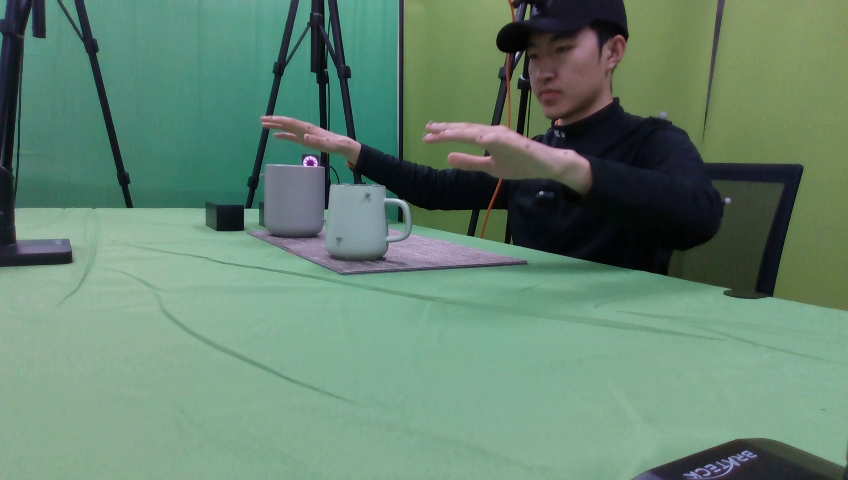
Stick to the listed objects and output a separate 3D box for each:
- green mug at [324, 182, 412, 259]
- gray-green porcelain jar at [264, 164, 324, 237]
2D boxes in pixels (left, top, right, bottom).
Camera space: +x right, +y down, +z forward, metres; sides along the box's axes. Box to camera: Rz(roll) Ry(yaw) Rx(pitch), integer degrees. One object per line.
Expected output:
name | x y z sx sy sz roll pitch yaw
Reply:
green mug | -0.079 -0.028 0.864 0.125 0.105 0.092 3 7 9
gray-green porcelain jar | -0.233 -0.072 1.088 0.106 0.126 0.106 2 7 0
